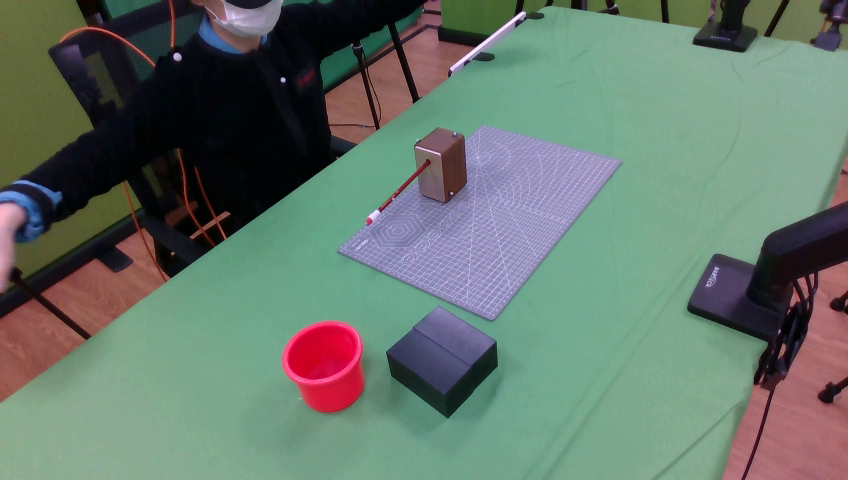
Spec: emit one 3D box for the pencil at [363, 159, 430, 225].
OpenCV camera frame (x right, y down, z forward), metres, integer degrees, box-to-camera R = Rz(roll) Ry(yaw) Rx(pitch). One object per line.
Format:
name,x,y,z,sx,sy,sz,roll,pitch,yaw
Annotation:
pencil,-0.033,-0.088,0.978,0.012,0.012,0.194,24,57,32

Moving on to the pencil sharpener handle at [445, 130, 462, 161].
pencil sharpener handle,0.057,-0.172,1.071,0.036,0.068,0.031,31,52,19

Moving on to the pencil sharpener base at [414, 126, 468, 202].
pencil sharpener base,0.032,-0.132,1.047,0.061,0.107,0.077,21,48,30
